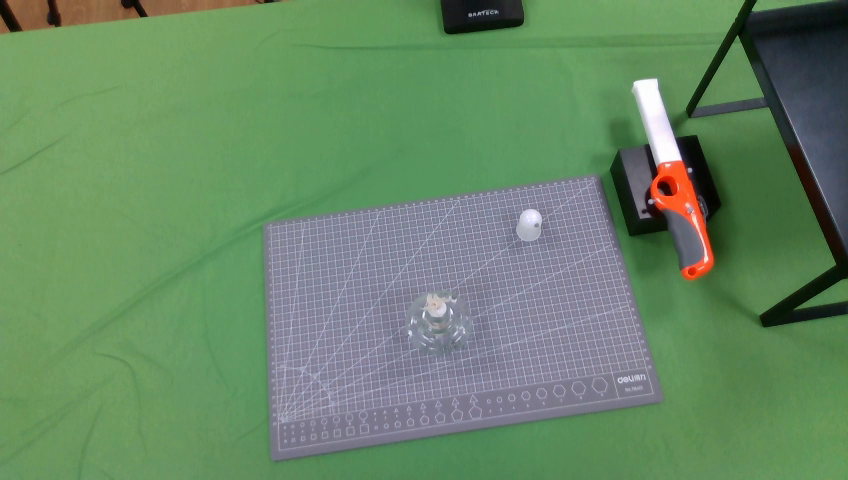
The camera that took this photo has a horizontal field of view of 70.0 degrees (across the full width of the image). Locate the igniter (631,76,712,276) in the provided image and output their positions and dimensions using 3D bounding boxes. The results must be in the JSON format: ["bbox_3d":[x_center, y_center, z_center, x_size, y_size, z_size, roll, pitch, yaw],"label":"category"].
[{"bbox_3d":[0.298,-0.086,0.735,0.057,0.025,0.274,-6,65,1],"label":"igniter"}]

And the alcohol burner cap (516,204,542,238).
[{"bbox_3d":[0.133,-0.027,0.758,0.034,0.048,0.033,-1,68,4],"label":"alcohol burner cap"}]

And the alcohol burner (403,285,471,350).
[{"bbox_3d":[0.014,0.083,0.680,0.078,0.120,0.077,-1,68,4],"label":"alcohol burner"}]
